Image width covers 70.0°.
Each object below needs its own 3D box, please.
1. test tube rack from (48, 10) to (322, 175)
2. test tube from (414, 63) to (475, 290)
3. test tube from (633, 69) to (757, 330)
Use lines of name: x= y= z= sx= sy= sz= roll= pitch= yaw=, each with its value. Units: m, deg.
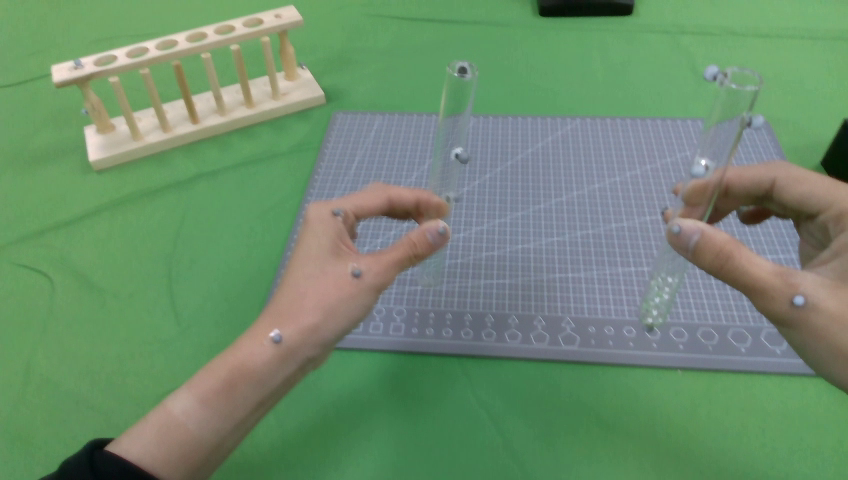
test tube rack: x=-0.236 y=-0.155 z=0.625 sx=0.243 sy=0.086 sz=0.066 roll=-21 pitch=49 yaw=-16
test tube: x=0.009 y=-0.026 z=0.338 sx=0.017 sy=0.151 sz=0.017 roll=5 pitch=41 yaw=-4
test tube: x=0.119 y=-0.008 z=0.278 sx=0.017 sy=0.151 sz=0.017 roll=-1 pitch=45 yaw=1
